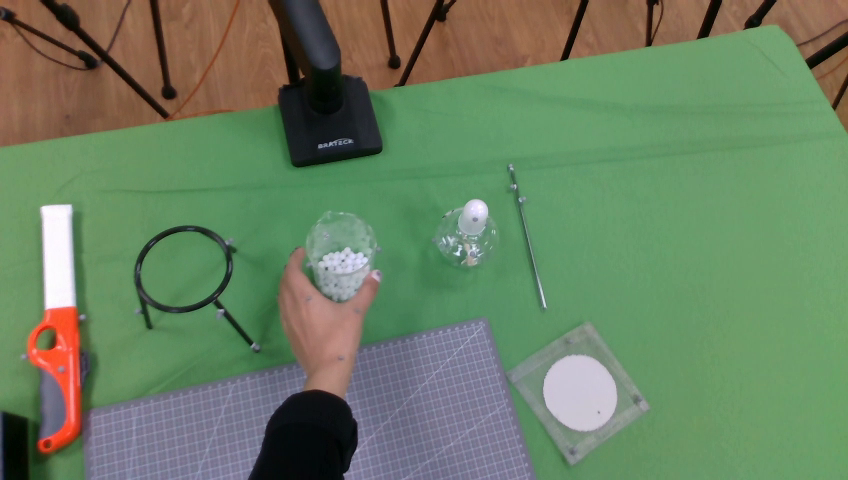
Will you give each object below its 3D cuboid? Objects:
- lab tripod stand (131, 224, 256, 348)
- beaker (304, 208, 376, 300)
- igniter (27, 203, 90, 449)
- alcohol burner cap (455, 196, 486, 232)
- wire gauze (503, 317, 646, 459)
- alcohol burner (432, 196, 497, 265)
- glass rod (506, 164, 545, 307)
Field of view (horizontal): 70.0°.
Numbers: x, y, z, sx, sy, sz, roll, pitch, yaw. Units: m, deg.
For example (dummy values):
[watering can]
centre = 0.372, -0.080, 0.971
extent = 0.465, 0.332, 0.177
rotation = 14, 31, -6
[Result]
[lab tripod stand]
centre = -0.238, 0.046, 0.637
extent = 0.148, 0.132, 0.147
rotation = 2, 66, -4
[beaker]
centre = -0.096, 0.019, 0.683
extent = 0.074, 0.101, 0.083
rotation = -21, 70, -15
[igniter]
centre = -0.399, 0.084, 0.660
extent = 0.057, 0.025, 0.274
rotation = -5, 67, -25
[alcohol burner cap]
centre = 0.054, -0.031, 0.674
extent = 0.034, 0.048, 0.033
rotation = 1, 72, -4
[wire gauze]
centre = 0.176, 0.168, 0.701
extent = 0.125, 0.011, 0.120
rotation = -29, 73, -15
[alcohol burner]
centre = 0.050, -0.017, 0.707
extent = 0.078, 0.120, 0.077
rotation = 2, 65, -5
[glass rod]
centre = 0.128, -0.010, 0.770
extent = 0.008, 0.008, 0.198
rotation = -7, 69, -9
